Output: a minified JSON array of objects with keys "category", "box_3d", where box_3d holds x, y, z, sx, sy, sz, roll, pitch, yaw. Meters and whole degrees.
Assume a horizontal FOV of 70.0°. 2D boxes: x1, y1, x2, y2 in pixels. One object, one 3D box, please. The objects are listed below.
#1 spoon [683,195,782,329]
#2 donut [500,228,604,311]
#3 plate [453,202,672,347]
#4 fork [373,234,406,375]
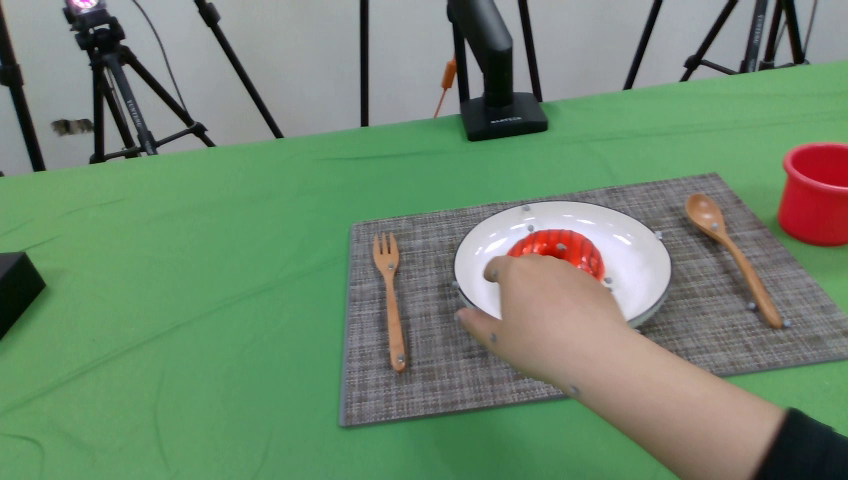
[{"category":"spoon","box_3d":[0.306,0.015,0.604,0.042,0.022,0.192,8,35,-8]},{"category":"donut","box_3d":[0.124,0.029,0.589,0.099,0.049,0.098,-6,39,5]},{"category":"plate","box_3d":[0.134,0.033,0.600,0.209,0.038,0.207,-5,36,4]},{"category":"fork","box_3d":[-0.034,0.057,0.616,0.028,0.019,0.205,-4,34,-6]}]
